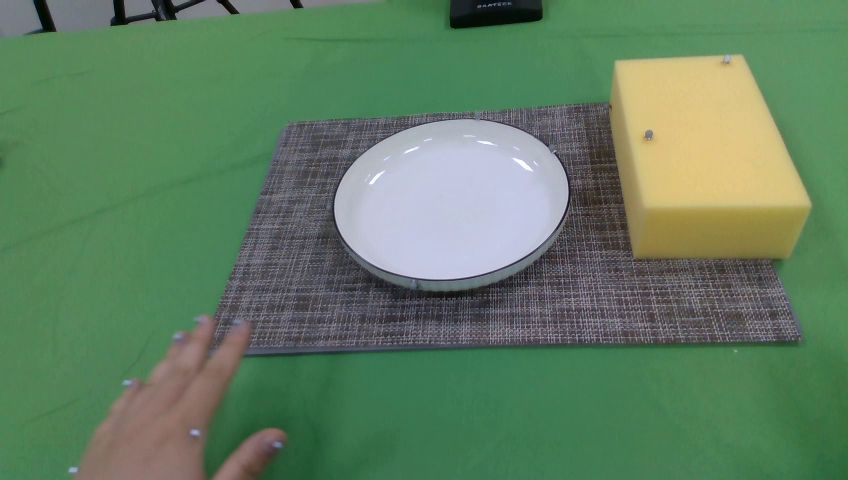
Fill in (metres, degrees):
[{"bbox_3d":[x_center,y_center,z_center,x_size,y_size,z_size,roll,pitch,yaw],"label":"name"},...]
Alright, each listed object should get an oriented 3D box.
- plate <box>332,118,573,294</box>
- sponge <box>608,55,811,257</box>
[{"bbox_3d":[0.025,-0.031,0.536,0.207,0.039,0.205,-5,47,5],"label":"plate"},{"bbox_3d":[0.234,-0.079,0.530,0.118,0.061,0.205,-1,47,8],"label":"sponge"}]
